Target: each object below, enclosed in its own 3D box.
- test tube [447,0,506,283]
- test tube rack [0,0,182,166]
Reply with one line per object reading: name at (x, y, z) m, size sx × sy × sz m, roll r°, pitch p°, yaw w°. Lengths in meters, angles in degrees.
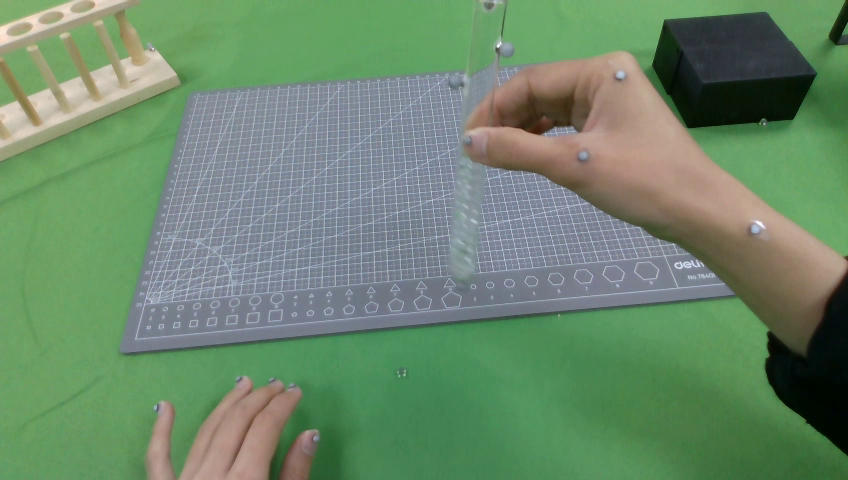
test tube at (0.024, -0.041, 0.303) m, size 0.017 × 0.151 × 0.017 m, roll 3°, pitch 32°, yaw -1°
test tube rack at (-0.368, -0.144, 0.569) m, size 0.242 × 0.086 × 0.066 m, roll -31°, pitch 55°, yaw -21°
